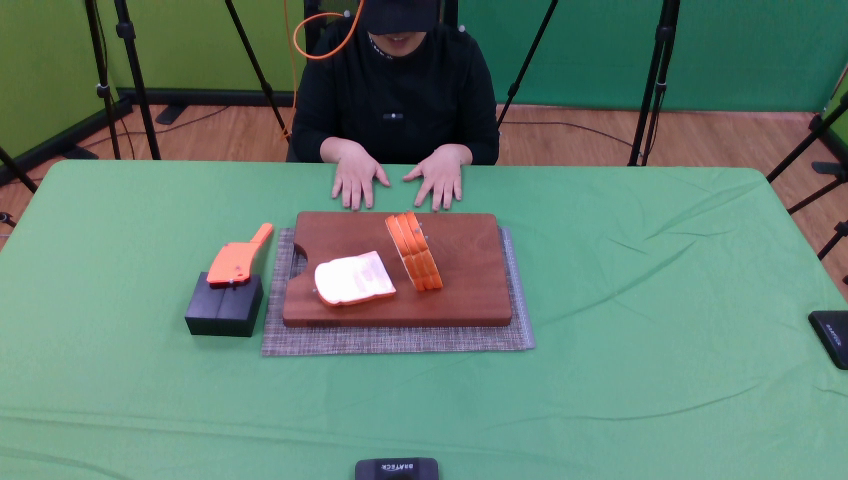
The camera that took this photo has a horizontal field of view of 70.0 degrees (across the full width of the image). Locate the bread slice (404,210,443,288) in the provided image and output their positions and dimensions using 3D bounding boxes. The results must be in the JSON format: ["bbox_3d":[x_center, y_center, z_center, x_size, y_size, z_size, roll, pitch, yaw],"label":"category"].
[{"bbox_3d":[-0.003,0.013,1.073,0.018,0.135,0.106,-23,50,-2],"label":"bread slice"}]

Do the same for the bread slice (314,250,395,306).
[{"bbox_3d":[-0.130,0.071,1.077,0.132,0.019,0.104,-11,49,-20],"label":"bread slice"}]

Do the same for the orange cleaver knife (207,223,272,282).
[{"bbox_3d":[-0.337,0.020,1.122,0.077,0.012,0.210,3,29,3],"label":"orange cleaver knife"}]
